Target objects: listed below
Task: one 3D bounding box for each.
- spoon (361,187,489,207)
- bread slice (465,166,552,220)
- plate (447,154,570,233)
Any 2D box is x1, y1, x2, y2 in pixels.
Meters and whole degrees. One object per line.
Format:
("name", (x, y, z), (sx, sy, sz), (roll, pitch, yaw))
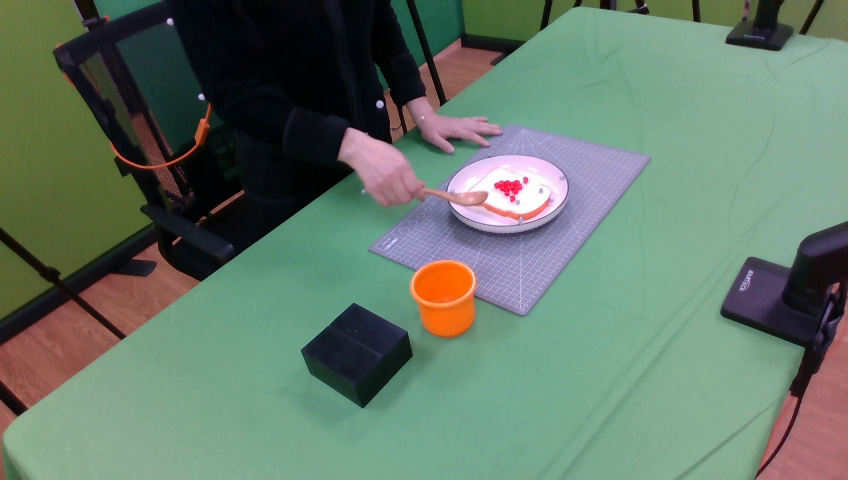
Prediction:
("spoon", (0.001, -0.071, 0.921), (0.194, 0.022, 0.041), (7, 35, 1))
("bread slice", (0.149, -0.079, 1.036), (0.133, 0.018, 0.107), (22, 50, 31))
("plate", (0.143, -0.076, 1.032), (0.209, 0.038, 0.208), (-5, 40, 5))
